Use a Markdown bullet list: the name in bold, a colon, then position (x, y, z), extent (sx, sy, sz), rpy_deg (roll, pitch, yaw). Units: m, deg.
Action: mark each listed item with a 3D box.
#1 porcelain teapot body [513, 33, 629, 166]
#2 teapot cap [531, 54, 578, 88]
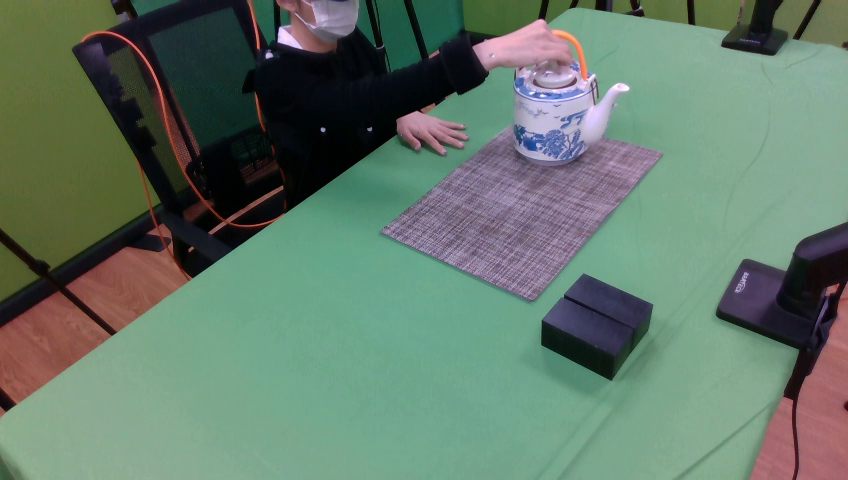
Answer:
- **porcelain teapot body**: position (0.256, -0.248, 1.065), extent (0.204, 0.226, 0.145), rpy_deg (18, 47, 28)
- **teapot cap**: position (0.225, -0.296, 1.039), extent (0.085, 0.044, 0.085), rpy_deg (-6, 41, 5)
